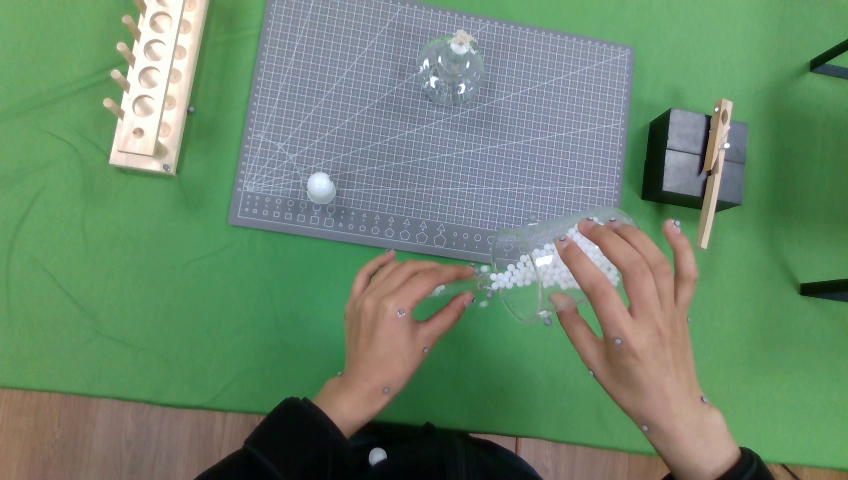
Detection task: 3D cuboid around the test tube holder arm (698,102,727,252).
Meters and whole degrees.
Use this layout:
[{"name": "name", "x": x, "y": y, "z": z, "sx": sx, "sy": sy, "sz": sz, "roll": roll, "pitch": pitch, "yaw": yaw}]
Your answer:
[{"name": "test tube holder arm", "x": 0.335, "y": -0.074, "z": 0.703, "sx": 0.013, "sy": 0.015, "sz": 0.178, "roll": 9, "pitch": 83, "yaw": -4}]

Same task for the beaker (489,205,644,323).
[{"name": "beaker", "x": 0.110, "y": 0.016, "z": 0.470, "sx": 0.100, "sy": 0.084, "sz": 0.074, "roll": -14, "pitch": 83, "yaw": -19}]

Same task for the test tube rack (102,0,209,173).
[{"name": "test tube rack", "x": -0.285, "y": -0.202, "z": 0.638, "sx": 0.067, "sy": 0.085, "sz": 0.241, "roll": 9, "pitch": 82, "yaw": -7}]

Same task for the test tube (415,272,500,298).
[{"name": "test tube", "x": 0.026, "y": 0.042, "z": 0.558, "sx": 0.017, "sy": 0.150, "sz": 0.017, "roll": 3, "pitch": 81, "yaw": -24}]

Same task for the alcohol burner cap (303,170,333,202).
[{"name": "alcohol burner cap", "x": -0.117, "y": -0.061, "z": 0.666, "sx": 0.034, "sy": 0.048, "sz": 0.034, "roll": 1, "pitch": 83, "yaw": -9}]

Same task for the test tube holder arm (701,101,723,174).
[{"name": "test tube holder arm", "x": 0.337, "y": -0.119, "z": 0.708, "sx": 0.010, "sy": 0.015, "sz": 0.087, "roll": 11, "pitch": 83, "yaw": -4}]

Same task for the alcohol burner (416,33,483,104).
[{"name": "alcohol burner", "x": 0.031, "y": -0.196, "z": 0.668, "sx": 0.078, "sy": 0.119, "sz": 0.077, "roll": 1, "pitch": 83, "yaw": -6}]
